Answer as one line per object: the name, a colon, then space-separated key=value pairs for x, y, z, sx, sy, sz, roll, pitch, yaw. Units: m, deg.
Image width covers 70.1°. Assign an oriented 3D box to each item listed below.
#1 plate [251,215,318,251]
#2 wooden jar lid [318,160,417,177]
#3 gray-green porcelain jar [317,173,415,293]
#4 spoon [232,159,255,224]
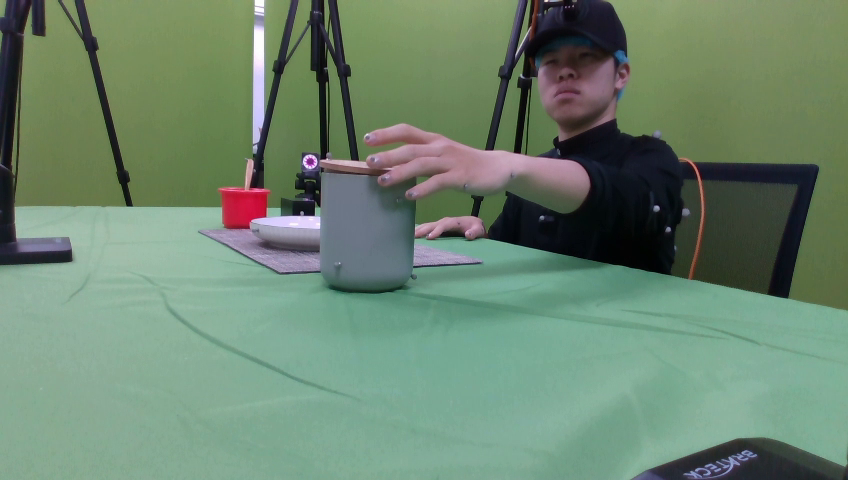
plate: x=-0.170 y=-0.012 z=0.971 sx=0.208 sy=0.039 sz=0.207 roll=2 pitch=7 yaw=0
wooden jar lid: x=-0.062 y=-0.073 z=0.665 sx=0.108 sy=0.020 sz=0.108 roll=5 pitch=9 yaw=0
gray-green porcelain jar: x=-0.065 y=-0.010 z=0.672 sx=0.106 sy=0.126 sz=0.106 roll=2 pitch=7 yaw=0
spoon: x=-0.356 y=-0.101 z=1.218 sx=0.042 sy=0.021 sz=0.193 roll=2 pitch=51 yaw=-9
